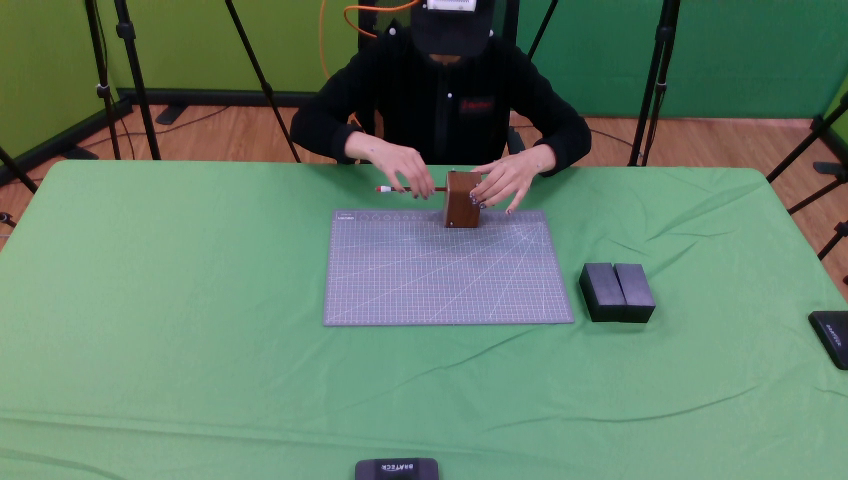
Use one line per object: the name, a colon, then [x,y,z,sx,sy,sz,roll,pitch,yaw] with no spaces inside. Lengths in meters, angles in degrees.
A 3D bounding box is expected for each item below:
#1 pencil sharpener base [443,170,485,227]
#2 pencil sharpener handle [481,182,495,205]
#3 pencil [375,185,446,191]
pencil sharpener base: [0.080,-0.082,1.220,0.077,0.107,0.061,1,46,-4]
pencil sharpener handle: [0.131,-0.093,1.217,0.031,0.068,0.036,1,57,-4]
pencil: [0.001,-0.102,1.196,0.194,0.012,0.012,0,46,-3]
